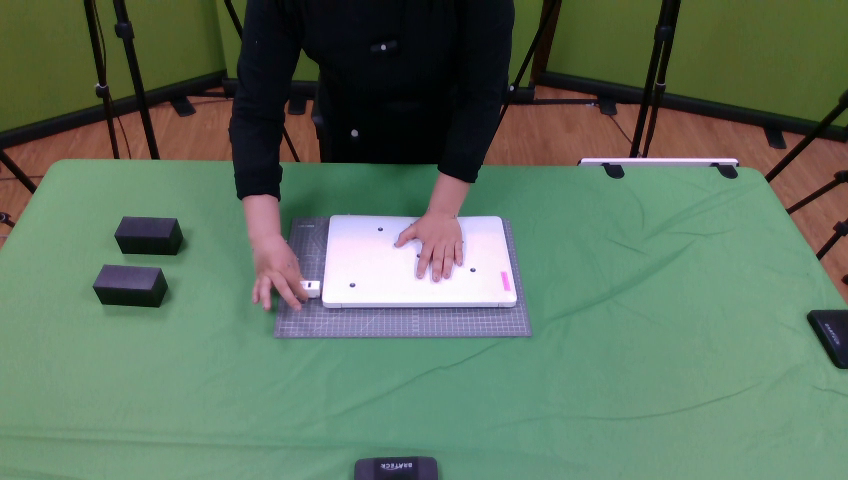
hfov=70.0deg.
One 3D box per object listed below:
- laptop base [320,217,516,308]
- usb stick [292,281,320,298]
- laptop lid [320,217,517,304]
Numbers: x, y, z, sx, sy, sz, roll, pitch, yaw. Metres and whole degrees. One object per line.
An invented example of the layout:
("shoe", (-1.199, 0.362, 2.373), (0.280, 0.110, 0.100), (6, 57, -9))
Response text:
("laptop base", (-0.013, 0.041, 1.159), (0.355, 0.023, 0.234), (0, 42, -4))
("usb stick", (-0.203, 0.089, 1.083), (0.059, 0.027, 0.021), (2, 49, 2))
("laptop lid", (-0.012, 0.033, 1.154), (0.357, 0.013, 0.240), (2, 43, -3))
